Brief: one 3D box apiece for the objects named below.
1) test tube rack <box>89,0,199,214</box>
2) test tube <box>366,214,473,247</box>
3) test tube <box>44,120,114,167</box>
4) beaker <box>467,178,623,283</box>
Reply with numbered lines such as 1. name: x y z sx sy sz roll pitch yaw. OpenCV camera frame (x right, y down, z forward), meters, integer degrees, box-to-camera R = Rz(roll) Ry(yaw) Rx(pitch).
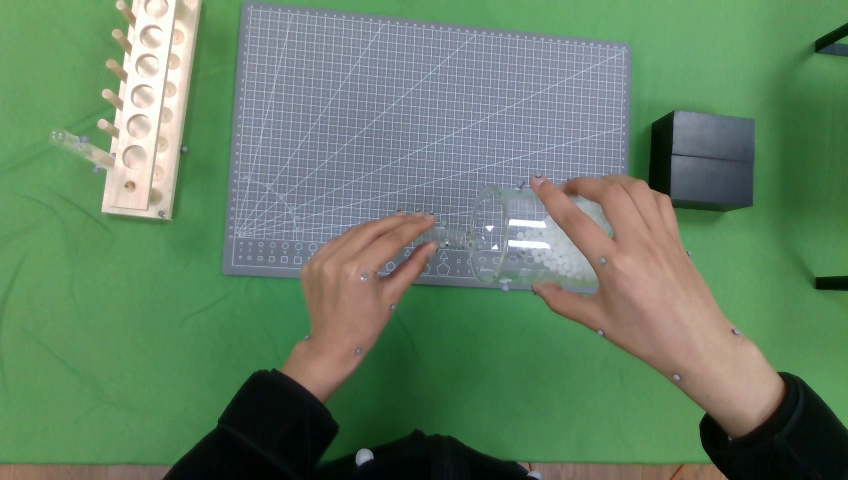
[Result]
1. test tube rack: -0.282 -0.153 0.602 0.067 0.085 0.242 6 85 -8
2. test tube: -0.009 -0.010 0.543 0.017 0.149 0.017 -7 101 -36
3. test tube: -0.304 -0.084 0.550 0.017 0.150 0.017 0 87 -8
4. beaker: 0.090 -0.004 0.460 0.101 0.084 0.074 4 82 -16
